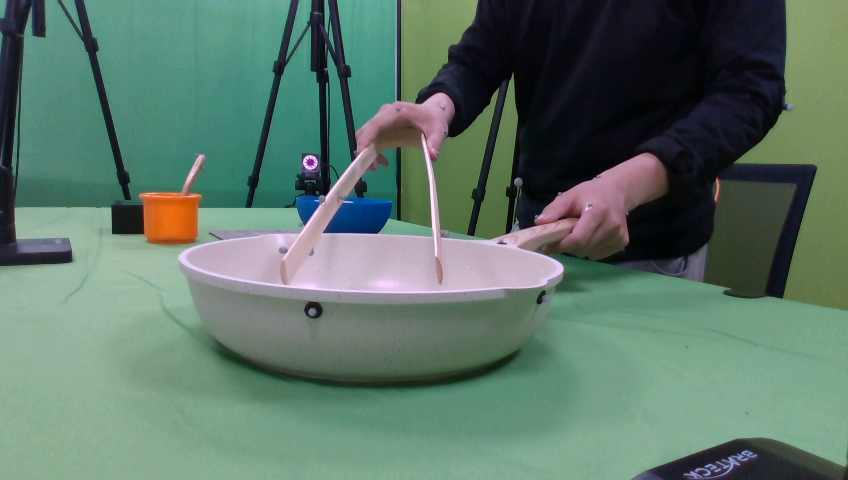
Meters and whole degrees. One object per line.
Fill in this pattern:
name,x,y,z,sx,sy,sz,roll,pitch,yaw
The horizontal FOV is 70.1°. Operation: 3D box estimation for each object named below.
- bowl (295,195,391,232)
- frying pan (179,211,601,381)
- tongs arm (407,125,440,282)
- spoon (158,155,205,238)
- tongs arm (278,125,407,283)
bowl,-0.127,-0.028,0.947,0.151,0.077,0.151,2,7,0
frying pan,0.034,0.019,0.556,0.490,0.102,0.305,-16,19,-43
tongs arm,-0.001,-0.059,0.624,0.028,0.028,0.386,-10,25,2
spoon,-0.392,-0.076,0.998,0.041,0.193,0.021,2,-36,5
tongs arm,-0.066,-0.057,0.629,0.051,0.026,0.384,-3,25,8
